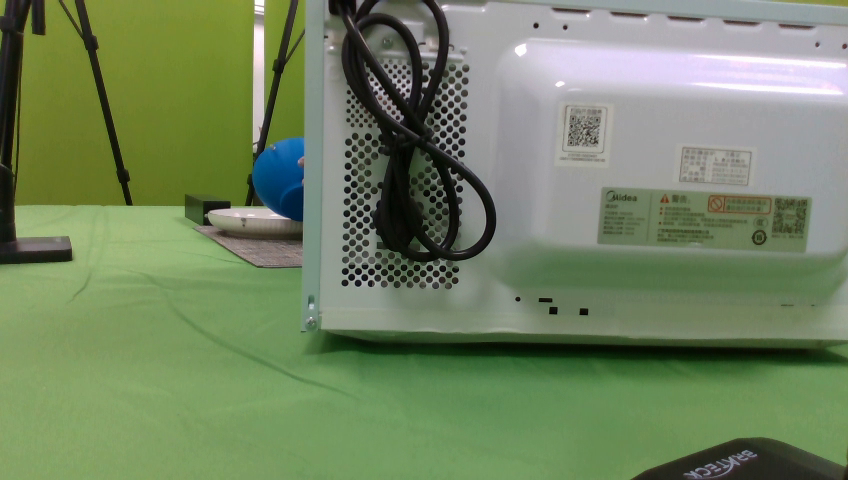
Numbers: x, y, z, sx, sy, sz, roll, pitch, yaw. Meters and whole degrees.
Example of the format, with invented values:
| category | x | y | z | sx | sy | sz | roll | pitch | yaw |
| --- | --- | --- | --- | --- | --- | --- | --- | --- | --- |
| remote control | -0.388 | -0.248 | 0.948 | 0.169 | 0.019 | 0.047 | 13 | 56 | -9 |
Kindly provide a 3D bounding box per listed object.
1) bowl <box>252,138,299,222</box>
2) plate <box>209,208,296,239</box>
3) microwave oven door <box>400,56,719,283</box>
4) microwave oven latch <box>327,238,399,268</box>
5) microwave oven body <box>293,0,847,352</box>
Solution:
| category | x | y | z | sx | sy | sz | roll | pitch | yaw |
| --- | --- | --- | --- | --- | --- | --- | --- | --- | --- |
| bowl | -0.200 | -0.082 | 0.978 | 0.152 | 0.151 | 0.076 | 0 | 43 | -20 |
| plate | -0.271 | -0.029 | 1.074 | 0.208 | 0.039 | 0.207 | 2 | 7 | 0 |
| microwave oven door | 0.155 | -0.078 | 0.698 | 0.356 | 0.243 | 0.039 | 2 | 8 | -5 |
| microwave oven latch | -0.069 | 0.015 | 0.694 | 0.079 | 0.029 | 0.030 | 3 | 7 | -3 |
| microwave oven body | 0.122 | -0.055 | 0.550 | 0.442 | 0.260 | 0.325 | 3 | 7 | -5 |
